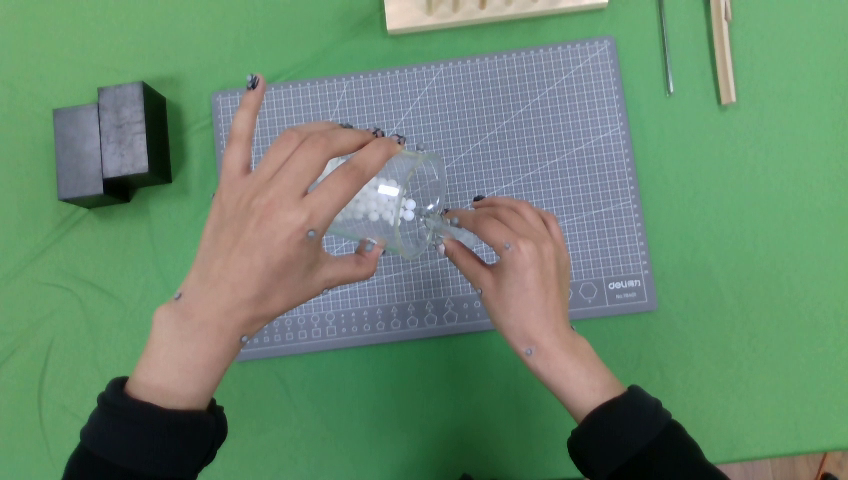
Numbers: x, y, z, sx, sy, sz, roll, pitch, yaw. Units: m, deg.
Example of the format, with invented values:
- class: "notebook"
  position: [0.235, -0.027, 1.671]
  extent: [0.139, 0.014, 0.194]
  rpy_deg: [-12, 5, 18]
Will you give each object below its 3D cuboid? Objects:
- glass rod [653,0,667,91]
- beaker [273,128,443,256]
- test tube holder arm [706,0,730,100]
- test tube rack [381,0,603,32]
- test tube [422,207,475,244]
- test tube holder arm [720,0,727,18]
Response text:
- class: "glass rod"
  position: [0.253, -0.259, 0.662]
  extent: [0.008, 0.008, 0.199]
  rpy_deg: [-3, 83, 3]
- class: "beaker"
  position: [-0.046, -0.036, 0.426]
  extent: [0.100, 0.084, 0.074]
  rpy_deg: [15, 82, 22]
- class: "test tube holder arm"
  position: [0.313, -0.238, 0.649]
  extent: [0.013, 0.015, 0.178]
  rpy_deg: [2, 83, -26]
- class: "test tube rack"
  position: [0.070, -0.284, 0.638]
  extent: [0.242, 0.085, 0.066]
  rpy_deg: [-6, 83, 3]
- class: "test tube"
  position: [0.024, -0.010, 0.517]
  extent: [0.017, 0.151, 0.017]
  rpy_deg: [-1, 84, 14]
- class: "test tube holder arm"
  position: [0.317, -0.282, 0.656]
  extent: [0.010, 0.015, 0.087]
  rpy_deg: [2, 83, -26]
